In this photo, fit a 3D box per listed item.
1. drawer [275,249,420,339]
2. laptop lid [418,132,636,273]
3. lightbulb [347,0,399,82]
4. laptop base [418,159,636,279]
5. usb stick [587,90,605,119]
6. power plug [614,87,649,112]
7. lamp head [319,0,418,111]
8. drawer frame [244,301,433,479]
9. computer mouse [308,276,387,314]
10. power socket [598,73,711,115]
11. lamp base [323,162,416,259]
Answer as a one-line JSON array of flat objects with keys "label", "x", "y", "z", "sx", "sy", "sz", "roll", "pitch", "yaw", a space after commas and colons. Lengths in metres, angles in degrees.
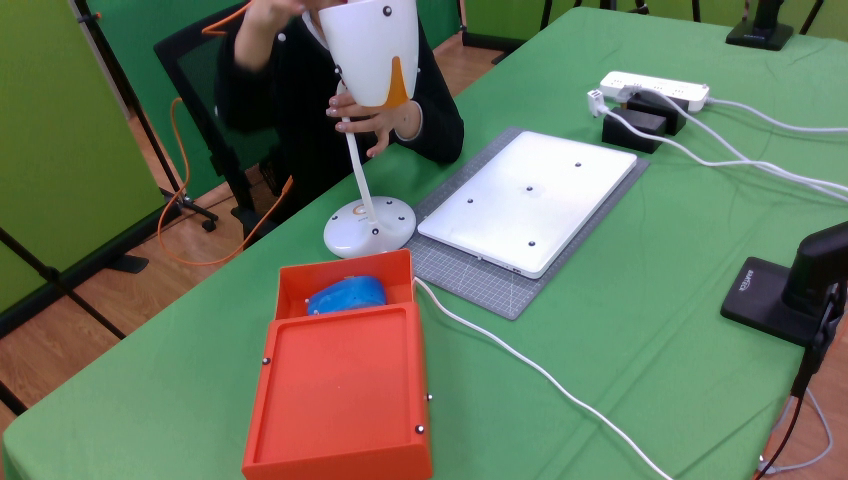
[{"label": "drawer", "x": -0.104, "y": 0.116, "z": 0.826, "sx": 0.194, "sy": 0.073, "sz": 0.210, "roll": -8, "pitch": 40, "yaw": 0}, {"label": "laptop lid", "x": 0.181, "y": -0.084, "z": 1.036, "sx": 0.239, "sy": 0.013, "sz": 0.358, "roll": 22, "pitch": 49, "yaw": 35}, {"label": "lightbulb", "x": -0.056, "y": -0.238, "z": 0.698, "sx": 0.059, "sy": 0.108, "sz": 0.059, "roll": -5, "pitch": 16, "yaw": 2}, {"label": "laptop base", "x": 0.185, "y": -0.074, "z": 1.042, "sx": 0.233, "sy": 0.023, "sz": 0.355, "roll": 19, "pitch": 48, "yaw": 35}, {"label": "usb stick", "x": 0.334, "y": -0.258, "z": 1.170, "sx": 0.021, "sy": 0.059, "sz": 0.027, "roll": -28, "pitch": 44, "yaw": -5}, {"label": "power plug", "x": 0.406, "y": -0.275, "z": 1.193, "sx": 0.035, "sy": 0.053, "sz": 0.072, "roll": -16, "pitch": 24, "yaw": -16}, {"label": "lamp head", "x": -0.058, "y": -0.214, "z": 0.706, "sx": 0.112, "sy": 0.123, "sz": 0.112, "roll": -6, "pitch": 24, "yaw": 3}, {"label": "drawer frame", "x": -0.096, "y": 0.185, "z": 0.739, "sx": 0.202, "sy": 0.083, "sz": 0.212, "roll": -8, "pitch": 40, "yaw": 1}, {"label": "computer mouse", "x": -0.113, "y": 0.089, "z": 0.883, "sx": 0.117, "sy": 0.041, "sz": 0.062, "roll": -15, "pitch": 40, "yaw": -2}, {"label": "power socket", "x": 0.469, "y": -0.304, "z": 1.249, "sx": 0.225, "sy": 0.033, "sz": 0.072, "roll": 20, "pitch": 49, "yaw": 30}, {"label": "lamp base", "x": -0.098, "y": -0.073, "z": 0.968, "sx": 0.161, "sy": 0.181, "sz": 0.177, "roll": -24, "pitch": 44, "yaw": -14}]
